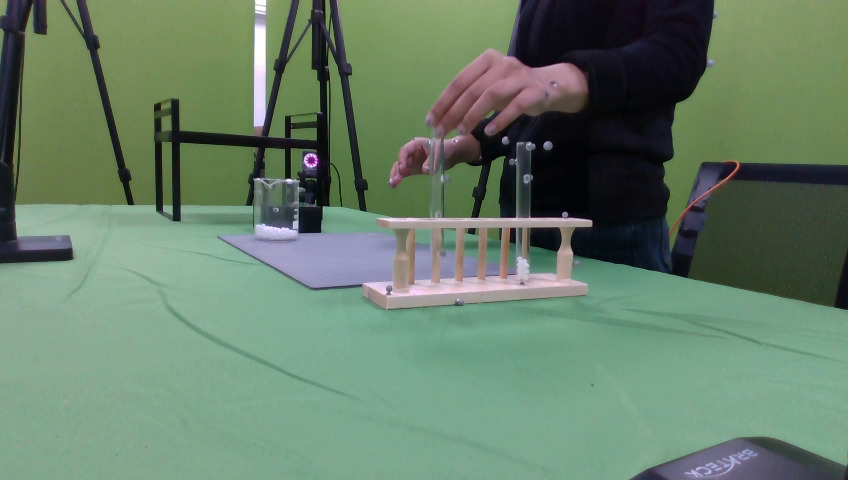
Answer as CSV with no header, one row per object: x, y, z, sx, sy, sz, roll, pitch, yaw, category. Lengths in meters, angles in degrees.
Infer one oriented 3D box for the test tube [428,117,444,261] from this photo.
0.013,-0.052,0.629,0.017,0.150,0.017,0,5,0,test tube

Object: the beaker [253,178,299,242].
-0.243,-0.050,0.990,0.074,0.100,0.084,2,9,1,beaker

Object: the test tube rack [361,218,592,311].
0.060,0.019,0.640,0.243,0.085,0.066,-1,8,-27,test tube rack

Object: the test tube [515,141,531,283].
0.104,-0.028,0.636,0.017,0.150,0.017,-1,12,1,test tube
